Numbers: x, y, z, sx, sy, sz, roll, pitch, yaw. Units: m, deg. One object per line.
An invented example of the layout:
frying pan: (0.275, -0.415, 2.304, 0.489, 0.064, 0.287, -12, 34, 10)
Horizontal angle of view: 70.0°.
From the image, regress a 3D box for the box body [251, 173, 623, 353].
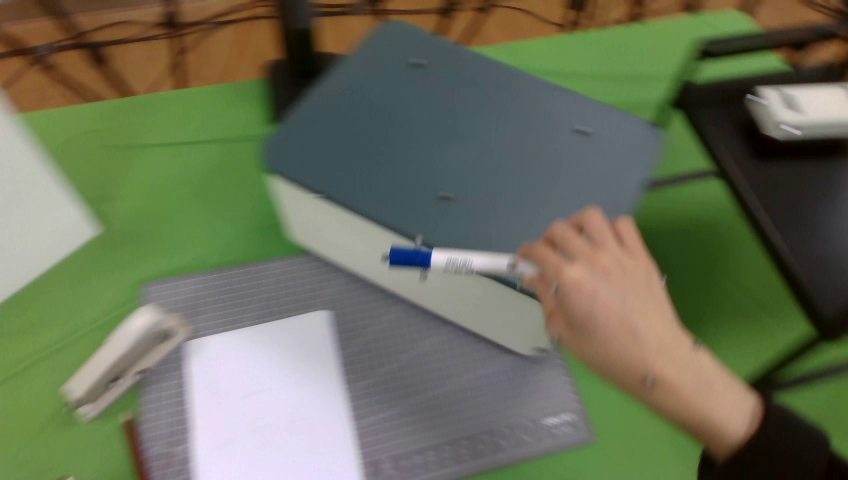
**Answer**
box body: (0.024, -0.061, 0.697, 0.363, 0.161, 0.253, 24, 59, 12)

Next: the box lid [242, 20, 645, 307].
box lid: (0.025, -0.102, 0.635, 0.370, 0.015, 0.262, 24, 59, 11)

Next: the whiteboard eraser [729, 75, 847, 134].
whiteboard eraser: (0.379, -0.138, 0.624, 0.113, 0.042, 0.055, -4, 59, -6)

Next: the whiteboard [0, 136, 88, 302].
whiteboard: (-0.558, -0.064, 0.622, 0.142, 0.309, 0.217, 25, 58, 36)

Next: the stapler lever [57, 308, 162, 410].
stapler lever: (-0.321, 0.118, 0.618, 0.026, 0.040, 0.118, 34, 65, 23)

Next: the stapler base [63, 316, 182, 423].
stapler base: (-0.320, 0.130, 0.640, 0.041, 0.024, 0.130, 34, 66, 22)

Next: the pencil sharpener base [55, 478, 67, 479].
pencil sharpener base: (-0.309, 0.257, 0.512, 0.077, 0.108, 0.061, -33, 65, -21)

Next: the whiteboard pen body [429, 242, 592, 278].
whiteboard pen body: (0.050, 0.013, 0.442, 0.140, 0.017, 0.017, 6, 57, 5)

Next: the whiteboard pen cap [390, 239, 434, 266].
whiteboard pen cap: (-0.008, 0.010, 0.447, 0.033, 0.018, 0.018, 5, 57, 5)

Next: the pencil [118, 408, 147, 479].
pencil: (-0.265, 0.244, 0.580, 0.012, 0.012, 0.192, -26, 62, -18)
